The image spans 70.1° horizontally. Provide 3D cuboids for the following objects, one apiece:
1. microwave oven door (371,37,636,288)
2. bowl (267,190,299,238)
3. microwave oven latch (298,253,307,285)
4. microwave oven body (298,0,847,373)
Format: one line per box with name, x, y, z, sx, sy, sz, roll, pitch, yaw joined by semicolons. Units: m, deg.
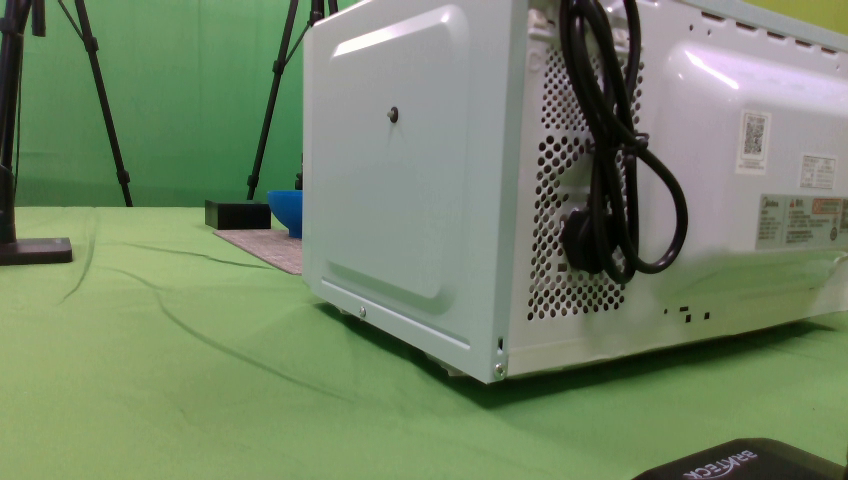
microwave oven door;0.109;-0.080;0.687;0.358;0.243;0.039;-2;9;-33
bowl;-0.202;-0.046;1.069;0.151;0.077;0.151;3;7;0
microwave oven latch;-0.081;0.027;0.583;0.079;0.029;0.030;-1;7;-32
microwave oven body;0.151;-0.055;0.543;0.444;0.260;0.324;-2;7;-33
